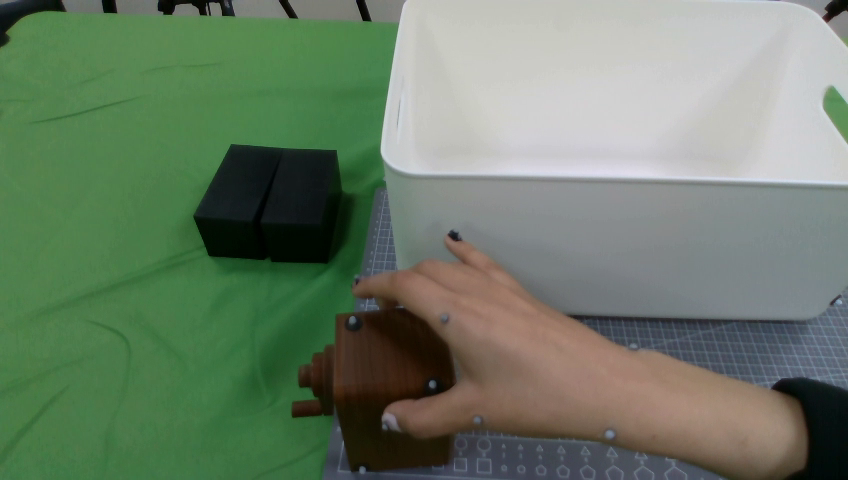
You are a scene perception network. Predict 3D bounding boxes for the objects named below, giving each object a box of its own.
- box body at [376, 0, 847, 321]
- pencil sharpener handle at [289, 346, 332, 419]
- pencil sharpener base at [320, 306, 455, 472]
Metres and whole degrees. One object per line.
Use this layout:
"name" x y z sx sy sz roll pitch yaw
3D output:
"box body" 0.154 -0.072 0.516 0.364 0.162 0.251 1 46 1
"pencil sharpener handle" -0.073 0.093 0.377 0.031 0.068 0.035 -4 49 -3
"pencil sharpener base" -0.022 0.099 0.389 0.077 0.108 0.060 -4 47 -3
